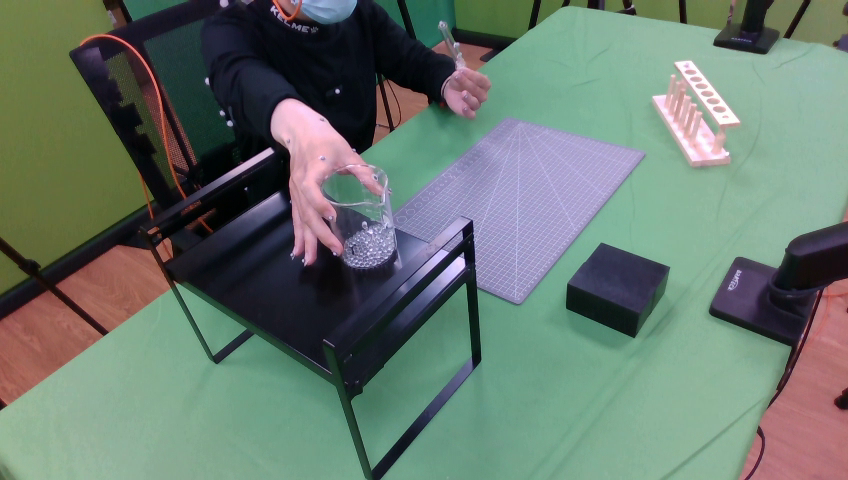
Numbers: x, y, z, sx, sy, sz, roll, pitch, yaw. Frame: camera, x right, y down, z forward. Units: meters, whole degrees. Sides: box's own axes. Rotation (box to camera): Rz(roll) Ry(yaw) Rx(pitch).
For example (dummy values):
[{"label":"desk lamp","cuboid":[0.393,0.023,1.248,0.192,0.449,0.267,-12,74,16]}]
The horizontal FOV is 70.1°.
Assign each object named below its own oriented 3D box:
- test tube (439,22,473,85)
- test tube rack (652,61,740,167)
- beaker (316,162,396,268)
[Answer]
[{"label":"test tube","cuboid":[0.057,-0.317,1.039,0.017,0.151,0.017,-10,62,19]},{"label":"test tube rack","cuboid":[0.499,-0.242,1.130,0.067,0.085,0.241,-5,41,3]},{"label":"beaker","cuboid":[-0.069,-0.023,0.670,0.083,0.101,0.074,29,53,32]}]
